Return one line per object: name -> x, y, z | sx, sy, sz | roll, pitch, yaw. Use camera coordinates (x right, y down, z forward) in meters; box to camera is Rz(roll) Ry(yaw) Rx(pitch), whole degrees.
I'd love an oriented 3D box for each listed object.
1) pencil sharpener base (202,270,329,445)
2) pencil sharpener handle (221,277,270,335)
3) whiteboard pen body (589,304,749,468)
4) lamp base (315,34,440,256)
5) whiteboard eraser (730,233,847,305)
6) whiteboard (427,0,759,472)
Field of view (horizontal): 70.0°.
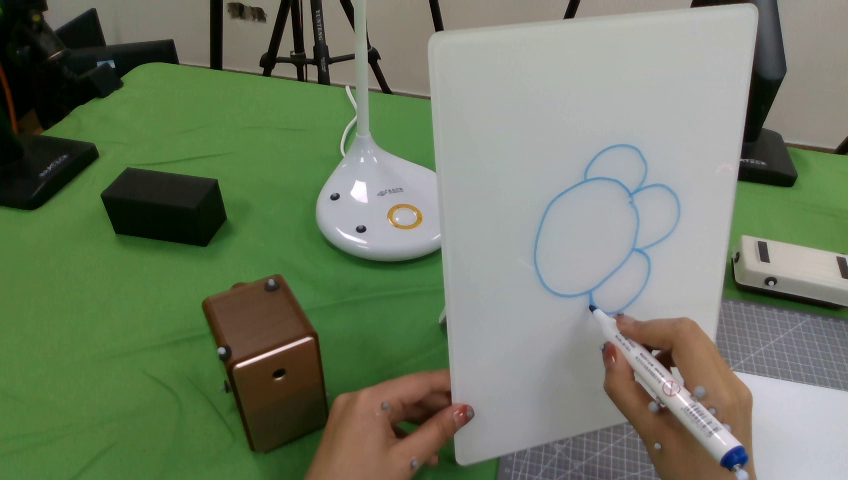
pencil sharpener base -> -0.116, 0.086, 0.450 | 0.061, 0.108, 0.076 | -20, 46, -23
pencil sharpener handle -> -0.139, 0.047, 0.475 | 0.036, 0.068, 0.030 | -26, 48, -17
whiteboard pen body -> 0.140, 0.079, 0.368 | 0.017, 0.017, 0.139 | -13, 35, -16
lamp base -> -0.042, -0.103, 0.615 | 0.161, 0.182, 0.177 | -24, 45, -27
whiteboard eraser -> 0.359, 0.030, 0.588 | 0.112, 0.042, 0.055 | 11, 40, 11
whiteboard -> 0.100, -0.014, 0.467 | 0.218, 0.307, 0.142 | -10, 23, -12
